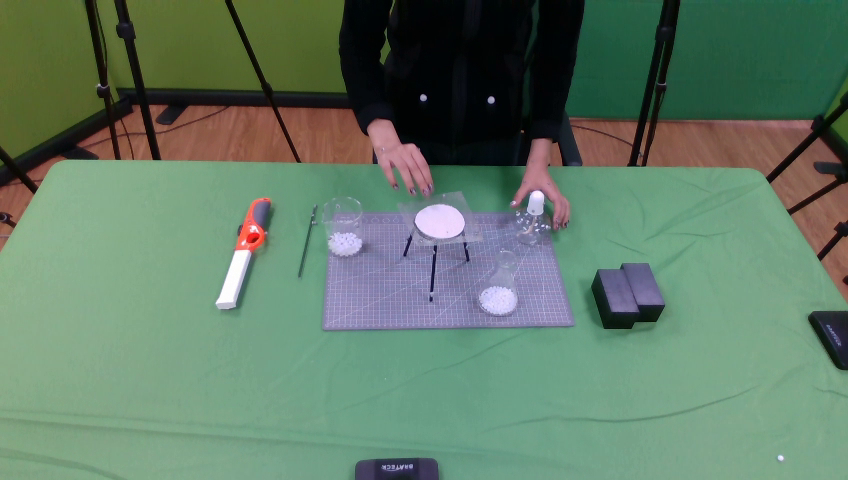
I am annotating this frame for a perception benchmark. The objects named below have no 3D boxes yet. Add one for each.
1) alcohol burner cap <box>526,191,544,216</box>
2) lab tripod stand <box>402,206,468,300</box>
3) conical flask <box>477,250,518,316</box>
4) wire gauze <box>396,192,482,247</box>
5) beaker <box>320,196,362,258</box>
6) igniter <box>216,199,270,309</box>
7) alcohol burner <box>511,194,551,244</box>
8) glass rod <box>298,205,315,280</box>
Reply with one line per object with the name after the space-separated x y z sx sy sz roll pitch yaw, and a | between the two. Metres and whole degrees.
0.216 -0.073 1.170 0.034 0.048 0.033 0 42 1 | alcohol burner cap
0.023 0.013 1.108 0.148 0.132 0.147 3 44 -2 | lab tripod stand
0.136 0.072 1.067 0.075 0.122 0.075 2 46 -2 | conical flask
0.025 -0.036 1.061 0.125 0.011 0.120 -9 47 -14 | wire gauze
-0.156 -0.020 1.150 0.084 0.101 0.073 -30 54 -28 | beaker
-0.342 0.016 1.153 0.057 0.025 0.275 -3 45 7 | igniter
0.215 -0.048 1.196 0.078 0.119 0.077 4 46 -4 | alcohol burner
-0.231 0.001 1.191 0.008 0.008 0.198 2 46 -2 | glass rod
